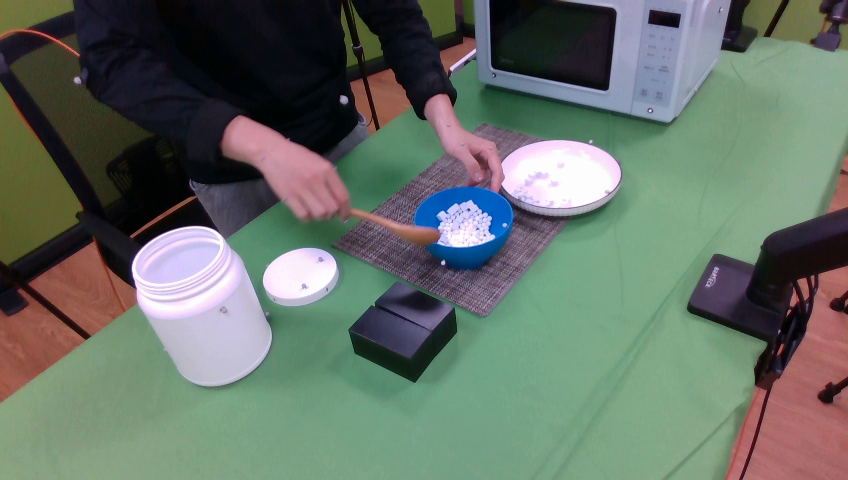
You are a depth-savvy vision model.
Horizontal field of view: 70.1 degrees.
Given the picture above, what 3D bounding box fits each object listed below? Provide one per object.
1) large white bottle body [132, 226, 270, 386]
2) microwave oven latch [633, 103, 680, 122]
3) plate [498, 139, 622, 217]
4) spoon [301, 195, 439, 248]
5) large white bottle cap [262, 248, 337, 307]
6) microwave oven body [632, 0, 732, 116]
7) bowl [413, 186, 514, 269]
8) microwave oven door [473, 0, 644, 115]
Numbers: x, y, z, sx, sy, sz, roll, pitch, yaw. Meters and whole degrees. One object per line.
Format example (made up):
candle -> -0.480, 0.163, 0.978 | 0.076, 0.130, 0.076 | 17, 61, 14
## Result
large white bottle body -> -0.286, 0.085, 0.784 | 0.130, 0.185, 0.130 | -4, 41, 4
microwave oven latch -> 0.443, -0.249, 1.157 | 0.078, 0.029, 0.030 | 21, 49, 30
plate -> 0.231, -0.103, 1.038 | 0.209, 0.038, 0.208 | -4, 41, 4
spoon -> -0.073, -0.027, 0.820 | 0.194, 0.041, 0.021 | 20, 53, 2
large white bottle cap -> -0.193, 0.056, 0.934 | 0.115, 0.018, 0.114 | -5, 41, 4
microwave oven body -> 0.377, -0.463, 1.267 | 0.438, 0.261, 0.327 | 21, 49, 30
bowl -> 0.062, -0.008, 0.921 | 0.151, 0.077, 0.150 | -4, 39, 4
microwave oven door -> 0.257, -0.396, 1.199 | 0.353, 0.245, 0.039 | 21, 48, 29
